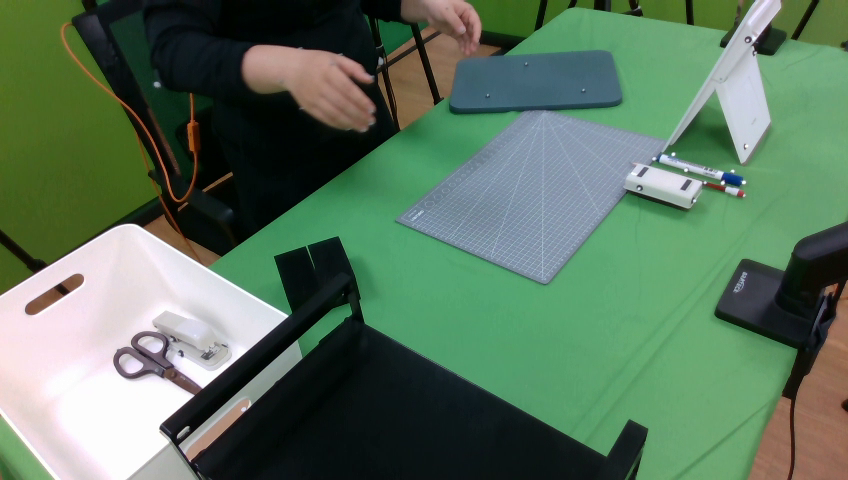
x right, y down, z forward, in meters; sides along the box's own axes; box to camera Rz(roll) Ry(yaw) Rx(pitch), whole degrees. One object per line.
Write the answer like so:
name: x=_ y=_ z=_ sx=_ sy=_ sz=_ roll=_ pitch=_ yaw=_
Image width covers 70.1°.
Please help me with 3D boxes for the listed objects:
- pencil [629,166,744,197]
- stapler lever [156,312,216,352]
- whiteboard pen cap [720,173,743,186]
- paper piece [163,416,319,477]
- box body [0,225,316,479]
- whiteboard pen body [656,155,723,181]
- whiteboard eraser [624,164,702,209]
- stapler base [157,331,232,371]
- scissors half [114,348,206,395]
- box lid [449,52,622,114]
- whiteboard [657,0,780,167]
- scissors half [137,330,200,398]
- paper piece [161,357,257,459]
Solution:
pencil: x=0.447 y=-0.103 z=1.038 sx=0.192 sy=0.012 sz=0.012 roll=21 pitch=48 yaw=29
stapler lever: x=-0.331 y=0.122 z=0.835 sx=0.117 sy=0.040 sz=0.027 roll=17 pitch=43 yaw=33
whiteboard pen cap: x=0.519 y=-0.103 z=1.020 sx=0.033 sy=0.018 sz=0.018 roll=23 pitch=49 yaw=30
paper piece: x=-0.229 y=0.236 z=0.760 sx=0.137 sy=0.008 sz=0.137 roll=33 pitch=37 yaw=29
box body: x=-0.339 y=0.162 z=0.728 sx=0.361 sy=0.161 sz=0.255 roll=23 pitch=48 yaw=31
whiteboard pen body: x=0.475 y=-0.122 z=1.052 sx=0.139 sy=0.017 sz=0.017 roll=24 pitch=50 yaw=32
whiteboard eraser: x=0.396 y=-0.087 z=1.003 sx=0.112 sy=0.042 sz=0.056 roll=22 pitch=47 yaw=31
stapler base: x=-0.326 y=0.142 z=0.849 sx=0.129 sy=0.024 sz=0.041 roll=18 pitch=43 yaw=32
scissors half: x=-0.348 y=0.185 z=0.810 sx=0.174 sy=0.013 sz=0.040 roll=14 pitch=52 yaw=19
box lid: x=0.249 y=-0.358 z=1.370 sx=0.371 sy=0.015 sz=0.262 roll=-1 pitch=40 yaw=9
whiteboard: x=0.571 y=-0.272 z=1.038 sx=0.143 sy=0.306 sz=0.218 roll=37 pitch=54 yaw=17
scissors half: x=-0.336 y=0.172 z=0.822 sx=0.174 sy=0.013 sz=0.040 roll=34 pitch=56 yaw=32
paper piece: x=-0.232 y=0.219 z=0.749 sx=0.134 sy=0.004 sz=0.136 roll=25 pitch=51 yaw=32
